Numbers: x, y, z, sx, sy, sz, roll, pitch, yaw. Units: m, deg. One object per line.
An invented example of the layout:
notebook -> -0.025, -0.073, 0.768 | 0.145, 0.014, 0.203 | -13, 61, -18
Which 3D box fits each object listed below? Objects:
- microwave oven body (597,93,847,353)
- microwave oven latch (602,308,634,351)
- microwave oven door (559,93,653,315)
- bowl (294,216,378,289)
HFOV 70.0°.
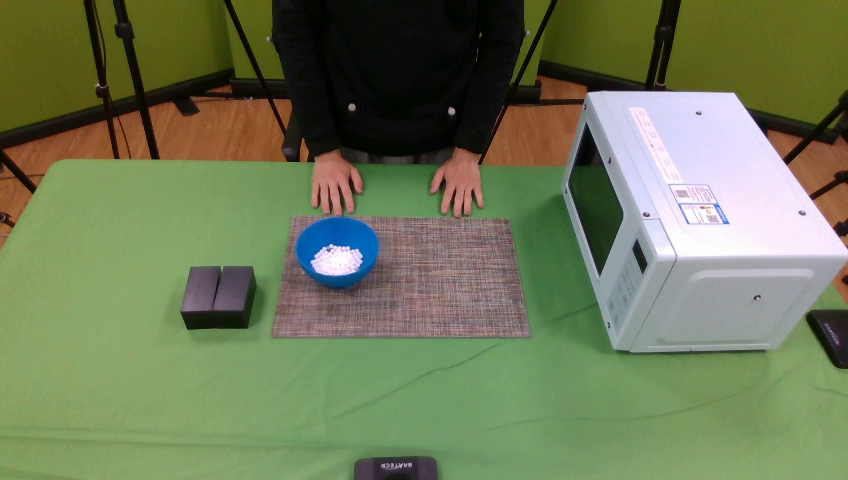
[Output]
microwave oven body -> 0.475, -0.041, 1.109 | 0.326, 0.261, 0.438 | -1, 45, -4
microwave oven latch -> 0.332, 0.153, 1.044 | 0.030, 0.029, 0.078 | -1, 45, -4
microwave oven door -> 0.327, -0.074, 1.123 | 0.039, 0.245, 0.353 | -1, 46, -5
bowl -> -0.158, 0.036, 1.110 | 0.151, 0.077, 0.150 | 3, 45, -2
